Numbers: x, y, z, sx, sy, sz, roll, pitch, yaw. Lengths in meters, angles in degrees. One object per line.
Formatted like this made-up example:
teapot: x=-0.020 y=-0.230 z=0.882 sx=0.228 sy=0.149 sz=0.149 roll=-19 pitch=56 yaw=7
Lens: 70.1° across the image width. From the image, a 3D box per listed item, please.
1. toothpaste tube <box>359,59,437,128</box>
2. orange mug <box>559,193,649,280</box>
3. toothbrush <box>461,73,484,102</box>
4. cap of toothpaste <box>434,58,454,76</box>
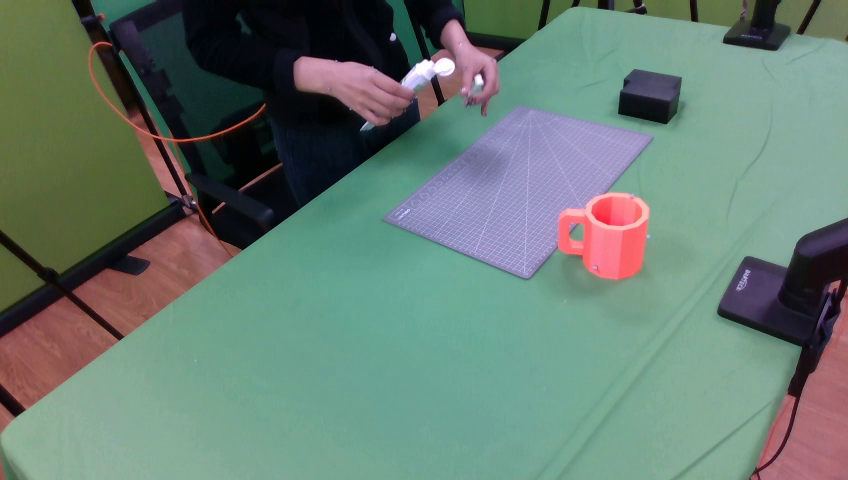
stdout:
toothpaste tube: x=-0.044 y=-0.245 z=1.023 sx=0.164 sy=0.034 sz=0.055 roll=-38 pitch=-3 yaw=19
orange mug: x=0.261 y=-0.008 z=0.884 sx=0.126 sy=0.101 sz=0.083 roll=9 pitch=43 yaw=14
toothbrush: x=0.084 y=-0.271 z=1.090 sx=0.014 sy=0.016 sz=0.181 roll=-24 pitch=3 yaw=-4
cap of toothpaste: x=0.032 y=-0.292 z=1.014 sx=0.037 sy=0.011 sz=0.037 roll=-2 pitch=65 yaw=4
